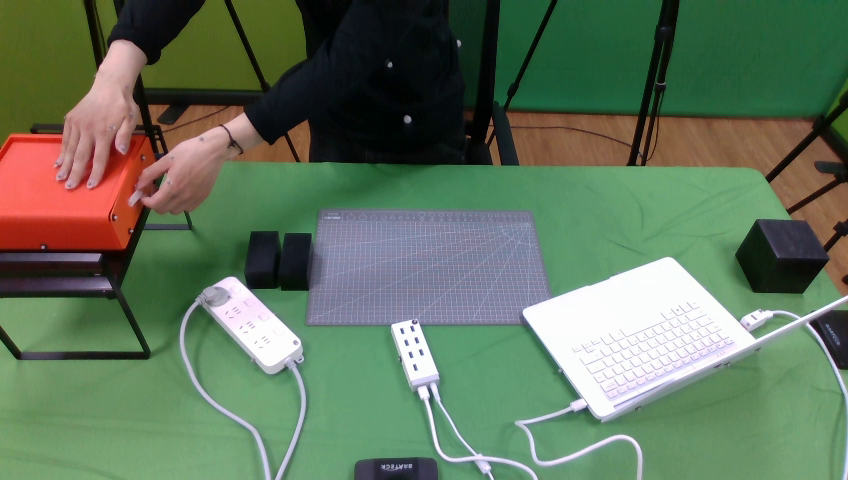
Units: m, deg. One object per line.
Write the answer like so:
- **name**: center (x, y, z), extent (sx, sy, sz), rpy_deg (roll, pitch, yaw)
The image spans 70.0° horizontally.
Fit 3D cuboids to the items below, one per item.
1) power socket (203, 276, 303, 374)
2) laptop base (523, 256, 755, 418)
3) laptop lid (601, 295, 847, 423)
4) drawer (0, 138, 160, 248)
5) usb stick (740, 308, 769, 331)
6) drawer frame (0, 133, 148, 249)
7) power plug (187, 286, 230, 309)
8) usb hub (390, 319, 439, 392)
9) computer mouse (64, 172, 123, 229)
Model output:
- **power socket**: center (-0.297, 0.141, 1.034), extent (0.225, 0.033, 0.072), rpy_deg (38, 55, 27)
- **laptop base**: center (0.380, 0.159, 1.077), extent (0.355, 0.023, 0.234), rpy_deg (-17, 47, -20)
- **laptop lid**: center (0.449, 0.180, 0.905), extent (0.357, 0.242, 0.013), rpy_deg (-17, 64, -20)
- **drawer**: center (-0.547, -0.079, 0.944), extent (0.212, 0.073, 0.193), rpy_deg (1, 47, -3)
- **usb stick**: center (0.587, 0.146, 1.087), extent (0.059, 0.027, 0.021), rpy_deg (-21, 48, -16)
- **drawer frame**: center (-0.553, -0.079, 0.942), extent (0.214, 0.083, 0.200), rpy_deg (-1, 47, -4)
- **power plug**: center (-0.370, 0.103, 1.039), extent (0.072, 0.053, 0.035), rpy_deg (-26, 53, -23)
- **usb hub**: center (-0.016, 0.190, 1.013), extent (0.049, 0.025, 0.124), rpy_deg (-11, 48, -15)
- **computer mouse**: center (-0.520, -0.067, 0.954), extent (0.063, 0.041, 0.116), rpy_deg (1, 49, -9)
